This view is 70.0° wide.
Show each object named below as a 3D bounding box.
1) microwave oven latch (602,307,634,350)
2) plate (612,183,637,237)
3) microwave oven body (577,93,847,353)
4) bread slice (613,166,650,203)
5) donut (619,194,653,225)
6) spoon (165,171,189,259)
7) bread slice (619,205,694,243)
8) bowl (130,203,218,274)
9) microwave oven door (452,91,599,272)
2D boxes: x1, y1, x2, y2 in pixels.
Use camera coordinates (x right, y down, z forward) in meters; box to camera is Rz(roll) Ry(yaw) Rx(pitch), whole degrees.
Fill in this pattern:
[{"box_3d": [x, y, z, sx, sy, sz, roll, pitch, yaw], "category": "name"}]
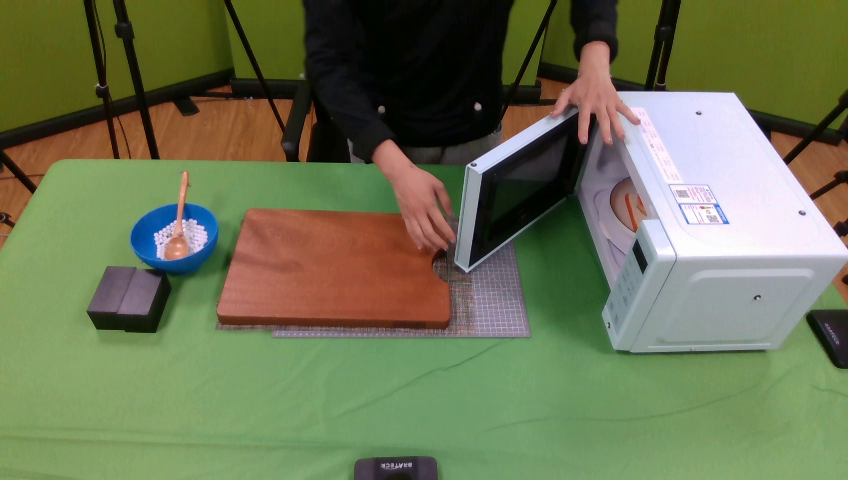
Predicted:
[{"box_3d": [0.332, 0.153, 1.044, 0.030, 0.029, 0.078, -1, 45, -4], "category": "microwave oven latch"}, {"box_3d": [0.472, -0.052, 1.187, 0.208, 0.039, 0.206, -1, 45, 1], "category": "plate"}, {"box_3d": [0.475, -0.041, 1.110, 0.326, 0.261, 0.438, -1, 45, -4], "category": "microwave oven body"}, {"box_3d": [0.436, -0.106, 1.153, 0.134, 0.018, 0.106, -5, 42, -27], "category": "bread slice"}, {"box_3d": [0.430, -0.060, 1.175, 0.099, 0.048, 0.098, -8, 26, 4], "category": "donut"}, {"box_3d": [-0.452, -0.046, 1.129, 0.041, 0.022, 0.193, -1, 69, -3], "category": "spoon"}, {"box_3d": [0.463, -0.037, 1.203, 0.131, 0.019, 0.104, -8, 35, 7], "category": "bread slice"}, {"box_3d": [-0.450, 0.010, 1.116, 0.151, 0.077, 0.150, 3, 45, -2], "category": "bowl"}, {"box_3d": [0.197, -0.115, 1.153, 0.356, 0.245, 0.039, -34, 57, -31], "category": "microwave oven door"}]
